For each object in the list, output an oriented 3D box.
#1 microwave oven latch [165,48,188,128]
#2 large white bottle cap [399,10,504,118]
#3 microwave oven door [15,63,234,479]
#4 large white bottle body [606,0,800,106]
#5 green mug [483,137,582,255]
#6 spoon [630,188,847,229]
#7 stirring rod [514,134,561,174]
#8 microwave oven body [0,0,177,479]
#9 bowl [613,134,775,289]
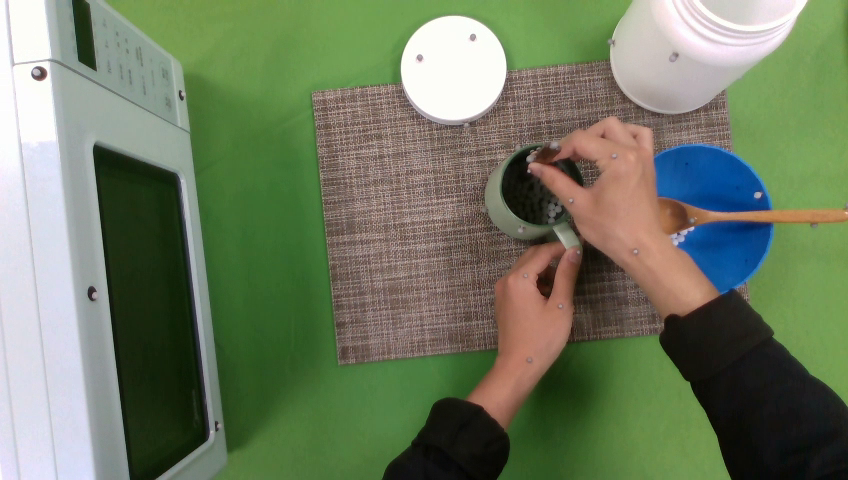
[{"bbox_3d":[-0.270,-0.157,0.635,0.030,0.029,0.079,-8,90,0],"label":"microwave oven latch"},{"bbox_3d":[0.029,-0.190,0.655,0.115,0.018,0.114,0,88,1],"label":"large white bottle cap"},{"bbox_3d":[-0.245,0.056,0.531,0.039,0.244,0.355,-8,89,1],"label":"microwave oven door"},{"bbox_3d":[0.258,-0.216,0.569,0.130,0.185,0.130,0,85,1],"label":"large white bottle body"},{"bbox_3d":[0.117,-0.040,0.609,0.092,0.105,0.125,-33,88,0],"label":"green mug"},{"bbox_3d":[0.303,-0.031,0.591,0.193,0.022,0.041,1,92,24],"label":"spoon"},{"bbox_3d":[0.100,-0.076,0.555,0.014,0.176,0.006,19,89,1],"label":"stirring rod"},{"bbox_3d":[-0.396,0.035,0.538,0.326,0.260,0.441,-8,89,0],"label":"microwave oven body"},{"bbox_3d":[0.261,-0.026,0.619,0.151,0.077,0.151,0,89,1],"label":"bowl"}]
